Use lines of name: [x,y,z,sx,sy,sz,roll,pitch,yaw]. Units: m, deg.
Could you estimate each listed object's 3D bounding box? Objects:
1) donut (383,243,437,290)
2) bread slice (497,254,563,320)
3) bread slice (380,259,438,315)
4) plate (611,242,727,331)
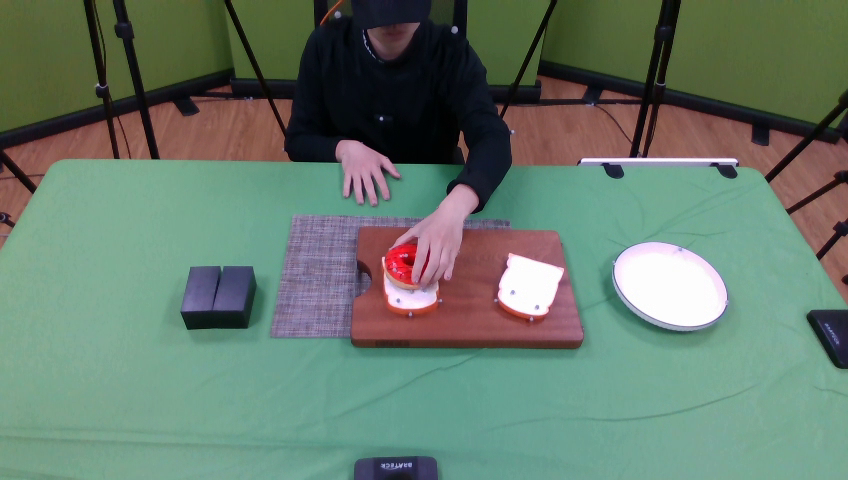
donut: [-0.025,0.048,1.077,0.099,0.048,0.098,4,44,-3]
bread slice: [0.189,0.087,1.095,0.107,0.018,0.134,15,46,10]
bread slice: [-0.024,0.079,1.087,0.105,0.019,0.130,-3,45,-5]
plate: [0.455,0.090,1.138,0.209,0.038,0.208,2,45,-2]
